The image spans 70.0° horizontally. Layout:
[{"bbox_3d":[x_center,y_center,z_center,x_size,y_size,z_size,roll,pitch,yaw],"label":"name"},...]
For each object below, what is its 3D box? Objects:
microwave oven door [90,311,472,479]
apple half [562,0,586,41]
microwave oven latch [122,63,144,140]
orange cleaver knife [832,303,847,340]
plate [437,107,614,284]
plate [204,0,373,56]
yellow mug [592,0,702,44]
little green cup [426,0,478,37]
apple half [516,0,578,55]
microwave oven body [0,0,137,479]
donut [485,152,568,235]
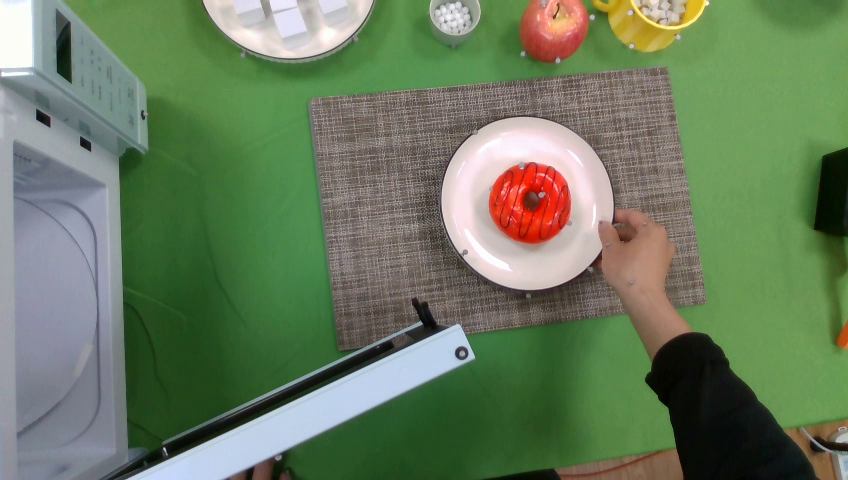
[{"bbox_3d":[-0.136,0.156,0.556,0.356,0.244,0.039,-24,86,-7],"label":"microwave oven door"},{"bbox_3d":[0.171,-0.278,0.726,0.033,0.081,0.081,-34,88,-3],"label":"apple half"},{"bbox_3d":[-0.326,-0.152,0.667,0.030,0.029,0.079,-2,86,-6],"label":"microwave oven latch"},{"bbox_3d":[0.541,0.021,0.728,0.012,0.076,0.212,13,116,-2],"label":"orange cleaver knife"},{"bbox_3d":[0.117,-0.052,0.715,0.209,0.038,0.208,0,85,-5],"label":"plate"},{"bbox_3d":[-0.158,-0.315,0.716,0.208,0.039,0.207,1,85,-5],"label":"plate"},{"bbox_3d":[0.266,-0.303,0.742,0.131,0.064,0.099,4,84,-4],"label":"yellow mug"},{"bbox_3d":[0.032,-0.277,0.731,0.061,0.038,0.061,1,84,-5],"label":"little green cup"},{"bbox_3d":[0.139,-0.256,0.723,0.053,0.074,0.081,-33,92,-3],"label":"apple half"},{"bbox_3d":[-0.451,0.024,0.542,0.326,0.260,0.440,-4,86,-6],"label":"microwave oven body"},{"bbox_3d":[0.120,-0.053,0.704,0.099,0.048,0.099,0,87,-5],"label":"donut"}]
